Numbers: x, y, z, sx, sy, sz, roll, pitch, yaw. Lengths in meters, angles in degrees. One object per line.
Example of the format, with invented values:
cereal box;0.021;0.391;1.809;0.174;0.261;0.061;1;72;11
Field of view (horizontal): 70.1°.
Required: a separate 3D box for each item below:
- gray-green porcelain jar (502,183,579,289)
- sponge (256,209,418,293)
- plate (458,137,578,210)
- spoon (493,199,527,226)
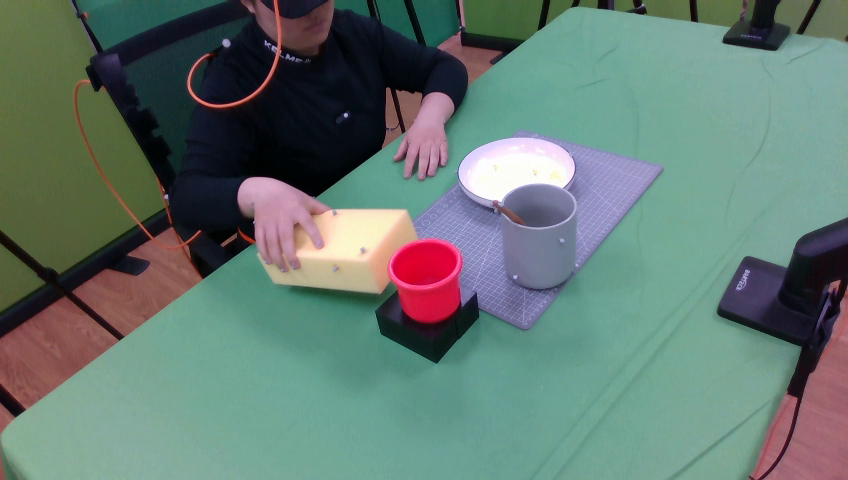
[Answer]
gray-green porcelain jar;0.166;-0.001;0.866;0.106;0.127;0.105;-5;40;5
sponge;-0.128;0.012;0.896;0.205;0.061;0.118;2;40;30
plate;0.166;-0.113;1.068;0.207;0.039;0.206;-5;40;5
spoon;0.135;-0.016;0.831;0.021;0.195;0.041;-49;53;-1
